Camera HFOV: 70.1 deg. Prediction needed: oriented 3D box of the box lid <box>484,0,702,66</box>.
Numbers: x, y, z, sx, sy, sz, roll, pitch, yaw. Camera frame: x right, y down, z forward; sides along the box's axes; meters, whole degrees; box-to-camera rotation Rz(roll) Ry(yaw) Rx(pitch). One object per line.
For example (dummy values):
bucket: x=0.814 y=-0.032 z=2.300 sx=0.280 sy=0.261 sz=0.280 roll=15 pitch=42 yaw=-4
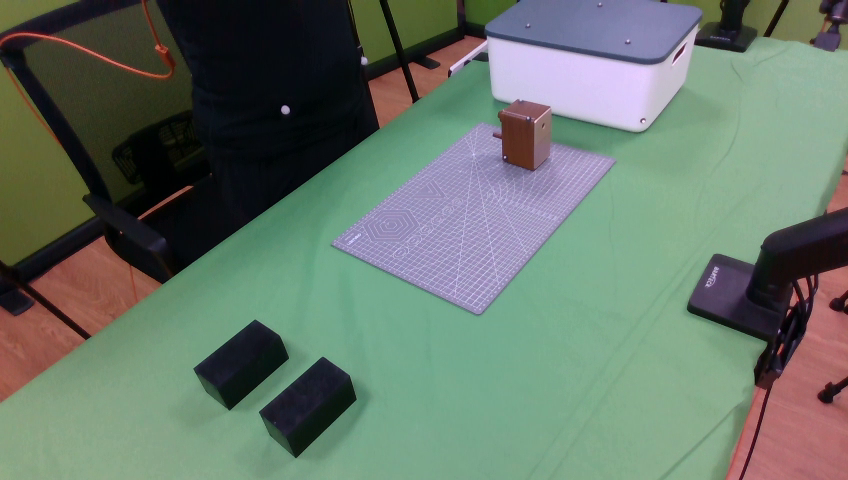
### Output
box lid: x=0.333 y=-0.428 z=1.202 sx=0.368 sy=0.015 sz=0.264 roll=21 pitch=48 yaw=30

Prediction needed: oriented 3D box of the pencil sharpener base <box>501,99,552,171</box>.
pencil sharpener base: x=0.184 y=-0.191 z=1.097 sx=0.076 sy=0.107 sz=0.061 roll=23 pitch=49 yaw=32

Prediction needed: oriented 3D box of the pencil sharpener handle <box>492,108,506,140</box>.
pencil sharpener handle: x=0.141 y=-0.216 z=1.114 sx=0.030 sy=0.068 sz=0.036 roll=23 pitch=41 yaw=32

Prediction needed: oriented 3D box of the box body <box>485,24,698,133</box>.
box body: x=0.340 y=-0.373 z=1.251 sx=0.361 sy=0.161 sz=0.255 roll=21 pitch=48 yaw=30
